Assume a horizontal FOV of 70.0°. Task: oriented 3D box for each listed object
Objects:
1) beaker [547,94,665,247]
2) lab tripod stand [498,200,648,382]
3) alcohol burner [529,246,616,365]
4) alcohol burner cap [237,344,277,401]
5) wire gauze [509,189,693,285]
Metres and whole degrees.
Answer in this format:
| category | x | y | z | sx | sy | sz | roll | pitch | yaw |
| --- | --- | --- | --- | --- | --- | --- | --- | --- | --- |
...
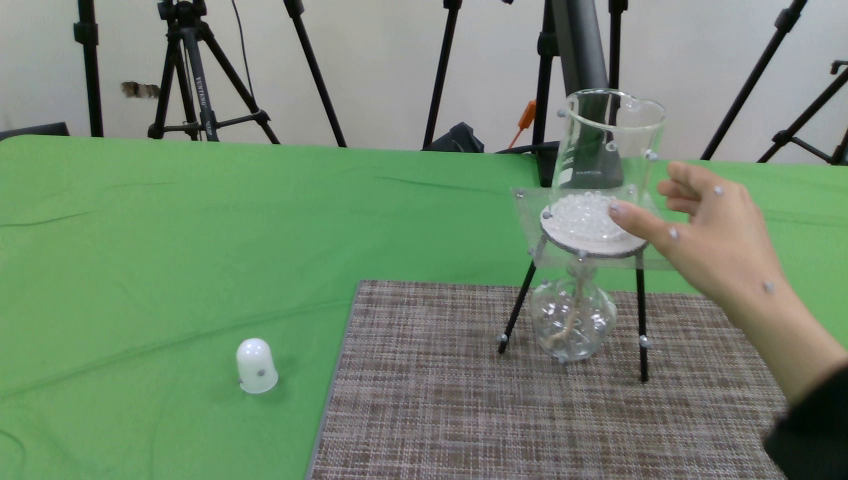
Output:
| category | x | y | z | sx | sy | sz | roll | pitch | yaw |
| --- | --- | --- | --- | --- | --- | --- | --- | --- | --- |
| beaker | 0.138 | -0.053 | 0.472 | 0.073 | 0.101 | 0.084 | 25 | 41 | 28 |
| lab tripod stand | 0.142 | 0.043 | 0.534 | 0.148 | 0.132 | 0.147 | 2 | 34 | -1 |
| alcohol burner | 0.134 | 0.053 | 0.537 | 0.078 | 0.120 | 0.077 | 1 | 36 | -1 |
| alcohol burner cap | -0.146 | 0.111 | 0.520 | 0.034 | 0.048 | 0.033 | 1 | 35 | 0 |
| wire gauze | 0.138 | -0.008 | 0.492 | 0.125 | 0.011 | 0.120 | 3 | 36 | -4 |
